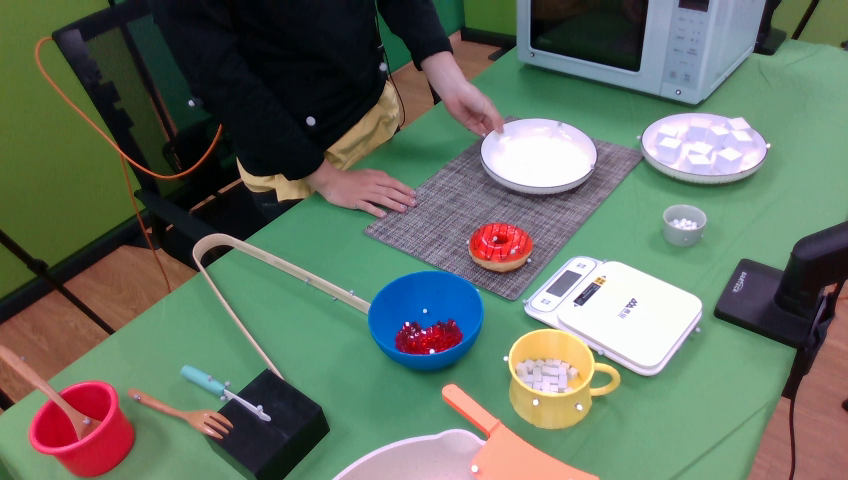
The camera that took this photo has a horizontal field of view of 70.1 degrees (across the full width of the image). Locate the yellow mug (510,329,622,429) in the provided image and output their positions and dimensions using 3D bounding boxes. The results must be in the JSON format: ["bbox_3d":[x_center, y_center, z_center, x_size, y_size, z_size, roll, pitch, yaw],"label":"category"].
[{"bbox_3d":[0.168,0.164,0.721,0.130,0.064,0.099,0,40,8],"label":"yellow mug"}]

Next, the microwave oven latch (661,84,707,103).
[{"bbox_3d":[0.517,-0.296,1.204,0.078,0.029,0.030,27,52,35],"label":"microwave oven latch"}]

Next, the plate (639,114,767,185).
[{"bbox_3d":[0.489,-0.157,1.074,0.207,0.039,0.206,-4,40,4],"label":"plate"}]

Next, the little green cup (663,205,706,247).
[{"bbox_3d":[0.396,-0.020,0.926,0.061,0.039,0.061,-4,40,4],"label":"little green cup"}]

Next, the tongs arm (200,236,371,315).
[{"bbox_3d":[-0.209,0.063,0.924,0.381,0.026,0.051,23,52,32],"label":"tongs arm"}]

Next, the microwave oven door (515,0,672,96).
[{"bbox_3d":[0.343,-0.454,1.259,0.353,0.245,0.039,26,51,33],"label":"microwave oven door"}]

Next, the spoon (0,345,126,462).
[{"bbox_3d":[-0.434,0.192,0.720,0.194,0.021,0.042,47,53,-7],"label":"spoon"}]

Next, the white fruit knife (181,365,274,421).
[{"bbox_3d":[-0.245,0.187,0.747,0.205,0.027,0.016,9,41,40],"label":"white fruit knife"}]

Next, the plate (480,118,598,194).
[{"bbox_3d":[0.204,-0.147,1.088,0.209,0.038,0.208,-1,45,1],"label":"plate"}]

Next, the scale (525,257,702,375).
[{"bbox_3d":[0.254,0.091,0.821,0.199,0.032,0.149,28,51,35],"label":"scale"}]

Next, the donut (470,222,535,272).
[{"bbox_3d":[0.119,0.009,0.923,0.099,0.048,0.098,-4,38,3],"label":"donut"}]

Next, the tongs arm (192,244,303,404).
[{"bbox_3d":[-0.268,0.109,0.882,0.028,0.028,0.384,-35,46,-19],"label":"tongs arm"}]

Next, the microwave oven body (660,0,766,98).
[{"bbox_3d":[0.472,-0.513,1.317,0.438,0.261,0.327,26,51,34],"label":"microwave oven body"}]

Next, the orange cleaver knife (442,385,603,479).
[{"bbox_3d":[0.086,0.219,0.612,0.209,0.012,0.077,28,49,35],"label":"orange cleaver knife"}]

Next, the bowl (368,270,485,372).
[{"bbox_3d":[0.007,0.118,0.791,0.151,0.077,0.150,-5,40,4],"label":"bowl"}]

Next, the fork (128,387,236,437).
[{"bbox_3d":[-0.305,0.207,0.744,0.206,0.019,0.028,3,41,36],"label":"fork"}]

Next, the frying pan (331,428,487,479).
[{"bbox_3d":[-0.089,0.306,0.564,0.487,0.103,0.306,10,41,7],"label":"frying pan"}]
